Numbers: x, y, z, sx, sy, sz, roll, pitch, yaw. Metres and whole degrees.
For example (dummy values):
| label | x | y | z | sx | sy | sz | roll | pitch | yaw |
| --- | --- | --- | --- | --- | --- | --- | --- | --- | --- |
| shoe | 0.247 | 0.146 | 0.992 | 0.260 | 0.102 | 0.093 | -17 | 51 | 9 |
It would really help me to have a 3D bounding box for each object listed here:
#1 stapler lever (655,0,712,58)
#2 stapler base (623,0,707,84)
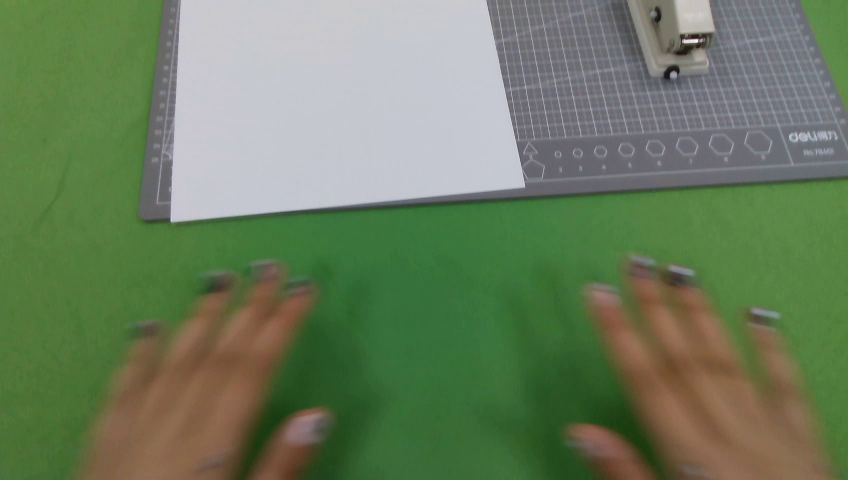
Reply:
| label | x | y | z | sx | sy | sz | roll | pitch | yaw |
| --- | --- | --- | --- | --- | --- | --- | --- | --- | --- |
| stapler lever | 0.165 | -0.177 | 0.399 | 0.027 | 0.040 | 0.117 | -6 | 68 | -1 |
| stapler base | 0.164 | -0.169 | 0.423 | 0.041 | 0.024 | 0.129 | -6 | 68 | -1 |
